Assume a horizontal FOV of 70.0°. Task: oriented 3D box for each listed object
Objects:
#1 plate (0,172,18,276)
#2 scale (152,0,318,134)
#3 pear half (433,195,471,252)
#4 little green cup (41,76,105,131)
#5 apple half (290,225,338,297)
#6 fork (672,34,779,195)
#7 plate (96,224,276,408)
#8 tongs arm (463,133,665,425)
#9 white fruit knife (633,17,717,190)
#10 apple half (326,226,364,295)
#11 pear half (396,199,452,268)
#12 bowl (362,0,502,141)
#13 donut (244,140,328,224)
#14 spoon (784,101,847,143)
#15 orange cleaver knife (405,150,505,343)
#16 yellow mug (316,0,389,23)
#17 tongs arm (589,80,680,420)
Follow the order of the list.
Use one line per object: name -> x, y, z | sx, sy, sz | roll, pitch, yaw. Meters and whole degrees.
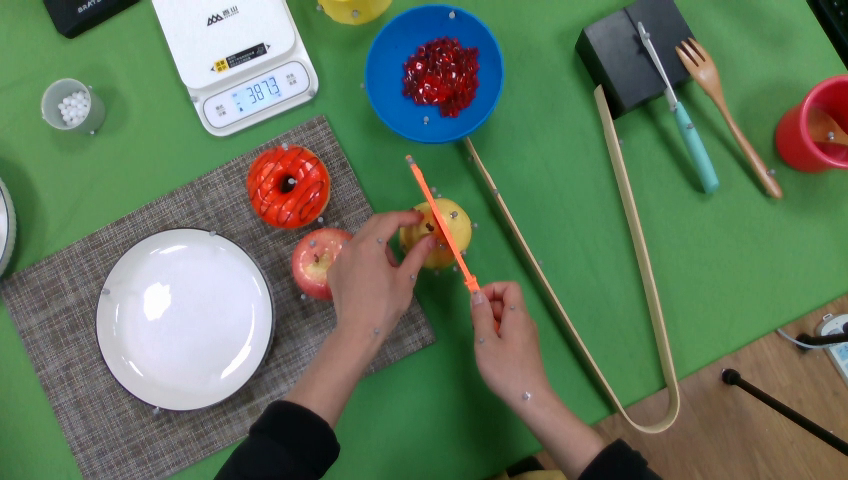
plate -> -0.585, -0.016, 0.731 | 0.207, 0.039, 0.207 | 0, 87, 4
scale -> -0.227, -0.242, 0.721 | 0.148, 0.031, 0.200 | -23, 86, 3
pear half -> 0.034, -0.022, 0.666 | 0.031, 0.088, 0.070 | -29, 80, -2
little green cup -> -0.419, -0.161, 0.727 | 0.061, 0.039, 0.061 | 0, 87, 4
apple half -> -0.121, 0.022, 0.677 | 0.053, 0.075, 0.081 | 7, 90, 8
fork -> 0.334, -0.134, 0.664 | 0.028, 0.018, 0.208 | -37, 101, -1
plate -> -0.270, 0.086, 0.701 | 0.209, 0.038, 0.208 | 0, 87, 4
tongs arm -> 0.155, 0.039, 0.682 | 0.051, 0.026, 0.384 | -27, 87, -4
white fruit knife -> 0.272, -0.146, 0.661 | 0.016, 0.027, 0.208 | -29, 100, 2
apple half -> -0.082, 0.025, 0.674 | 0.033, 0.081, 0.081 | 6, 87, 8
pear half -> -0.004, -0.005, 0.657 | 0.056, 0.110, 0.076 | -25, 80, 3
bowl -> 0.011, -0.179, 0.680 | 0.151, 0.077, 0.151 | 0, 88, 4
donut -> -0.159, -0.066, 0.698 | 0.099, 0.048, 0.099 | 0, 88, 5
spoon -> 0.448, -0.093, 0.614 | 0.041, 0.022, 0.191 | -33, 41, 1
orange cleaver knife -> 0.030, 0.006, 0.614 | 0.012, 0.077, 0.212 | -26, 101, 4
yellow mug -> -0.101, -0.321, 0.700 | 0.130, 0.064, 0.100 | 30, 90, 6
tongs arm -> 0.235, 0.007, 0.685 | 0.028, 0.028, 0.386 | -12, 86, -6
